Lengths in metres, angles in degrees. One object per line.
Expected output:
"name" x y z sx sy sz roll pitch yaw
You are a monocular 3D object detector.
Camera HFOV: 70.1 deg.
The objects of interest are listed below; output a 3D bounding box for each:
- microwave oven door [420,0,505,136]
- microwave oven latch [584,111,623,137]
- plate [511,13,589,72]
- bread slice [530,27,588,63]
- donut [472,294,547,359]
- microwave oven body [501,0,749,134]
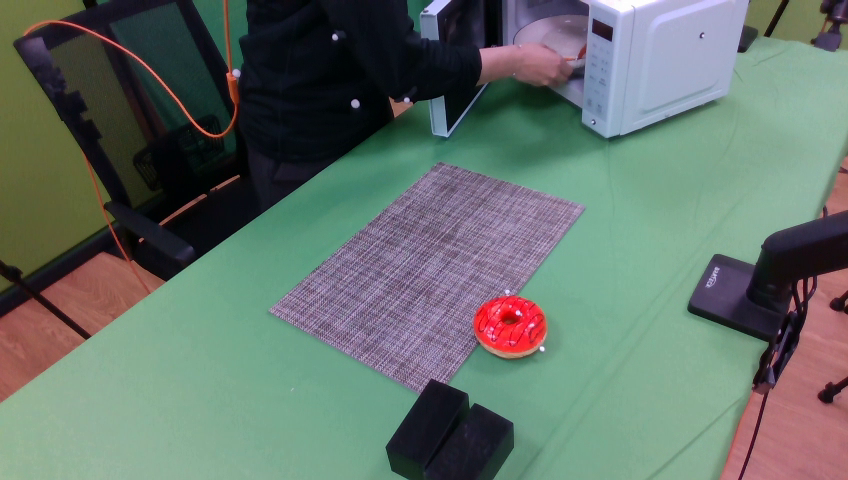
"microwave oven door" 0.089 -0.408 1.237 0.039 0.245 0.356 12 44 22
"microwave oven latch" 0.337 -0.222 1.142 0.030 0.029 0.078 -21 42 -14
"plate" 0.287 -0.405 1.257 0.207 0.039 0.206 -6 45 7
"bread slice" 0.294 -0.408 1.265 0.104 0.019 0.131 18 50 24
"donut" 0.114 0.114 0.803 0.099 0.048 0.098 0 40 1
"microwave oven body" 0.382 -0.444 1.246 0.327 0.261 0.437 -22 42 -16
